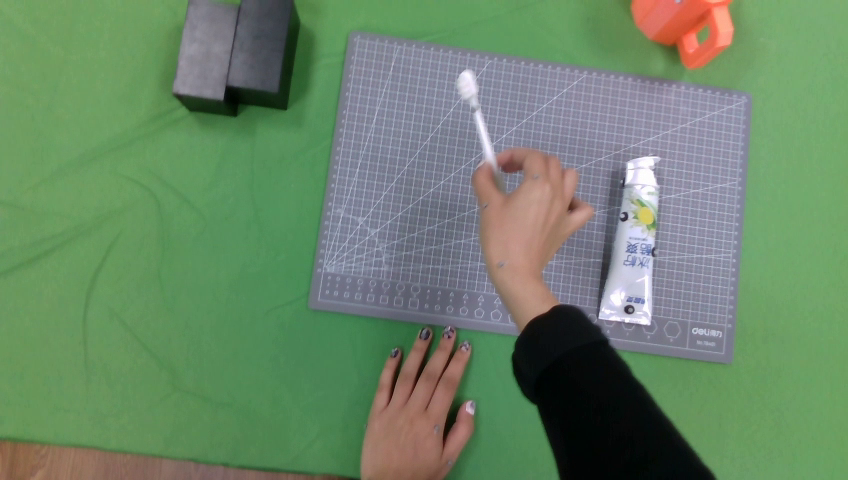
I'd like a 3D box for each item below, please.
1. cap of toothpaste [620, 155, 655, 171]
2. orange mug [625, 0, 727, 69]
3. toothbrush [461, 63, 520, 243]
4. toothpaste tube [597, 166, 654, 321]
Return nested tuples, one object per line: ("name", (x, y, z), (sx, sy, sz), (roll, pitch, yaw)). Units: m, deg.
("cap of toothpaste", (0.227, -0.080, 0.642), (0.037, 0.037, 0.011), (-5, 81, -4))
("orange mug", (0.277, -0.251, 0.636), (0.083, 0.101, 0.125), (-14, 80, -5))
("toothbrush", (0.064, -0.074, 0.565), (0.014, 0.016, 0.183), (-7, 120, 24))
("toothpaste tube", (0.217, 0.001, 0.639), (0.055, 0.034, 0.165), (6, 87, 4))
